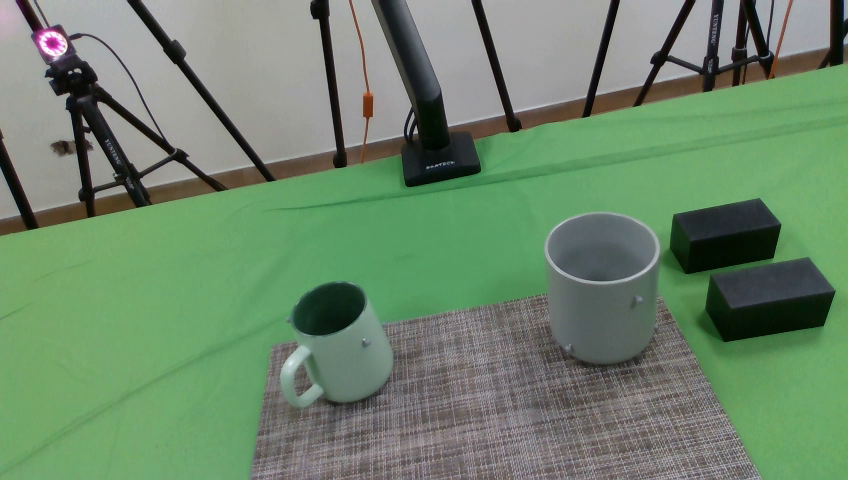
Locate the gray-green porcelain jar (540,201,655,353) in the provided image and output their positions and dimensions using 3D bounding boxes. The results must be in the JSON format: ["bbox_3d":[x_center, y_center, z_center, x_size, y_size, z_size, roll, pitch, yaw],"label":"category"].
[{"bbox_3d":[0.173,0.042,0.607,0.106,0.128,0.105,-8,40,7],"label":"gray-green porcelain jar"}]

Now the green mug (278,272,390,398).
[{"bbox_3d":[-0.098,0.107,0.623,0.092,0.106,0.125,18,49,32],"label":"green mug"}]
